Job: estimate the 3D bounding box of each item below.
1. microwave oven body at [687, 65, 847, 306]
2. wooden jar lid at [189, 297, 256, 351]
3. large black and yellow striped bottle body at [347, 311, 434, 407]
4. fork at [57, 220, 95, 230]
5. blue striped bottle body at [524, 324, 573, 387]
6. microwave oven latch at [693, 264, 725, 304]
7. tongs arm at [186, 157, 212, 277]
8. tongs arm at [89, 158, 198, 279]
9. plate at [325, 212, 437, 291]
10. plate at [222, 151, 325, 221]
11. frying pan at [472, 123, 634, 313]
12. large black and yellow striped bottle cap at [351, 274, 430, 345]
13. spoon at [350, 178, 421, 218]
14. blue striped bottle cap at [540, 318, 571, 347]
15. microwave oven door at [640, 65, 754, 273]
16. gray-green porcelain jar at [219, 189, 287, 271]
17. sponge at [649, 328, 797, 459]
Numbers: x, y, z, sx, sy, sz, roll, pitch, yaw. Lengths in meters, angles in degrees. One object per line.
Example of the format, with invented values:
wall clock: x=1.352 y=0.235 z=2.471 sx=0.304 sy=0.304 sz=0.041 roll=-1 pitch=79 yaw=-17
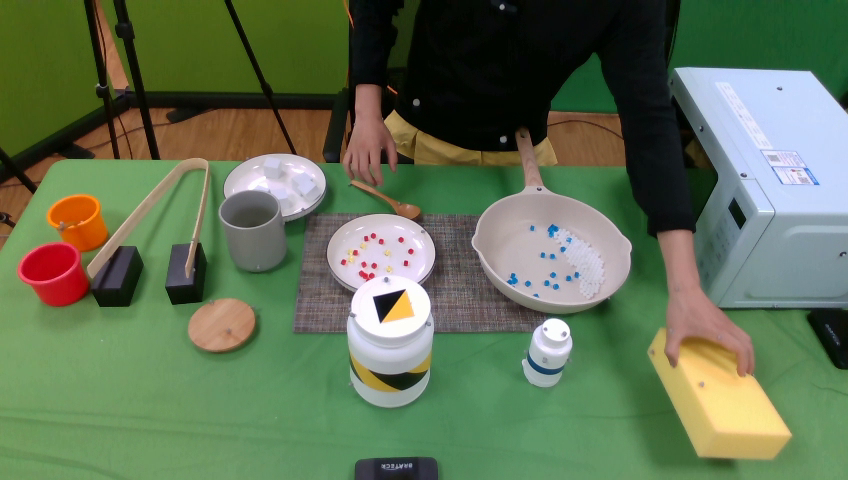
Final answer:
microwave oven body: x=0.669 y=-0.111 z=1.176 sx=0.326 sy=0.261 sz=0.439 roll=0 pitch=46 yaw=-3
wooden jar lid: x=-0.342 y=0.145 z=1.033 sx=0.108 sy=0.021 sz=0.107 roll=2 pitch=45 yaw=-2
large black and yellow striped bottle body: x=-0.052 y=0.157 z=0.929 sx=0.131 sy=0.185 sz=0.130 roll=2 pitch=47 yaw=-2
fork: x=-0.624 y=-0.027 z=1.087 sx=0.028 sy=0.207 sz=0.018 roll=-3 pitch=92 yaw=-17
blue striped bottle body: x=0.200 y=0.178 z=0.970 sx=0.063 sy=0.121 sz=0.062 roll=2 pitch=46 yaw=-1
microwave oven latch: x=0.522 y=0.081 z=1.116 sx=0.030 sy=0.029 sz=0.078 roll=2 pitch=46 yaw=-1
tongs arm: x=-0.445 y=-0.058 z=1.168 sx=0.051 sy=0.026 sz=0.382 roll=-5 pitch=37 yaw=-6
tongs arm: x=-0.529 y=-0.057 z=1.164 sx=0.028 sy=0.028 sz=0.385 roll=1 pitch=36 yaw=8
plate: x=-0.080 y=0.030 z=1.143 sx=0.209 sy=0.038 sz=0.208 roll=3 pitch=46 yaw=-3
plate: x=-0.310 y=-0.106 z=1.263 sx=0.208 sy=0.039 sz=0.206 roll=2 pitch=47 yaw=-2
frying pan: x=0.235 y=-0.060 z=1.207 sx=0.307 sy=0.103 sz=0.484 roll=1 pitch=54 yaw=-6
large black and yellow striped bottle cap: x=-0.048 y=0.097 z=0.867 sx=0.115 sy=0.019 sz=0.114 roll=3 pitch=48 yaw=-3
spoon: x=-0.084 y=-0.092 z=1.273 sx=0.193 sy=0.022 sz=0.041 roll=31 pitch=70 yaw=25
blue striped bottle cap: x=0.203 y=0.142 z=0.933 sx=0.044 sy=0.021 sz=0.044 roll=3 pitch=49 yaw=-3
microwave oven door: x=0.522 y=-0.147 z=1.193 sx=0.039 sy=0.245 sz=0.353 roll=0 pitch=47 yaw=-3
gray-green porcelain jar: x=-0.310 y=-0.014 z=1.113 sx=0.106 sy=0.127 sz=0.105 roll=2 pitch=46 yaw=-2
sponge: x=0.444 y=0.228 z=0.923 sx=0.118 sy=0.061 sz=0.205 roll=3 pitch=35 yaw=-9
